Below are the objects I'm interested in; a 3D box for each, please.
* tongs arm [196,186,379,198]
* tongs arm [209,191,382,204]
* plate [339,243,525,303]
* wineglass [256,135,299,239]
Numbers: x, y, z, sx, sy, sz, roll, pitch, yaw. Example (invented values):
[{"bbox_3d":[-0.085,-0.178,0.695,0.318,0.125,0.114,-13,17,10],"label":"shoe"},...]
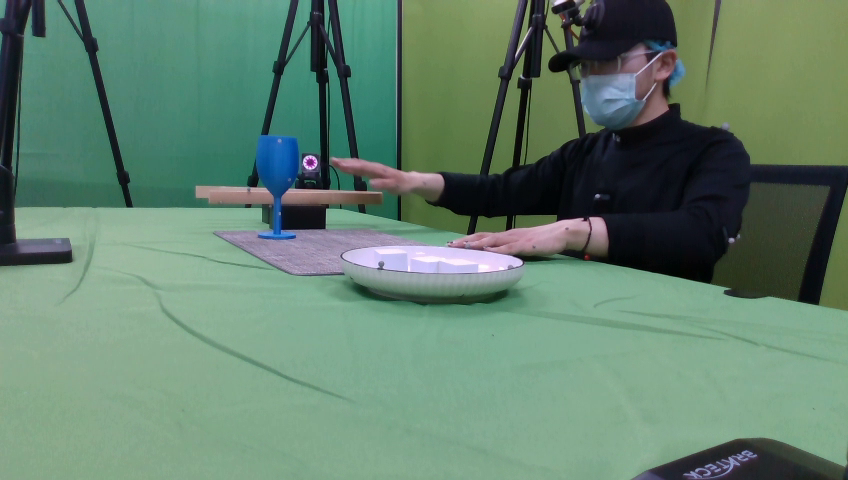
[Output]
[{"bbox_3d":[-0.287,-0.099,1.312,0.389,0.028,0.028,0,3,-21],"label":"tongs arm"},{"bbox_3d":[-0.248,-0.088,1.242,0.387,0.026,0.050,-2,7,-34],"label":"tongs arm"},{"bbox_3d":[0.008,0.035,0.682,0.209,0.038,0.209,3,7,0],"label":"plate"},{"bbox_3d":[-0.252,-0.091,1.035,0.074,0.172,0.073,3,7,0],"label":"wineglass"}]
